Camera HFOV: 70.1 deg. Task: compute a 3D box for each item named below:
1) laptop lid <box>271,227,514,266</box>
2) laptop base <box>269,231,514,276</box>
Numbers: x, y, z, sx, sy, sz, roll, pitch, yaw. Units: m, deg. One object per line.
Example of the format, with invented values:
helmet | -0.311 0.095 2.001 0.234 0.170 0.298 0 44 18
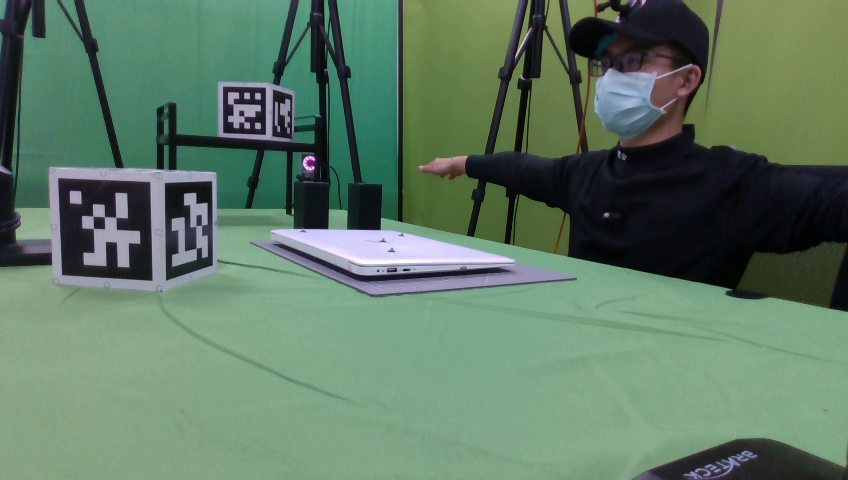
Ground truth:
laptop lid | -0.063 0.005 0.893 0.243 0.013 0.355 1 7 -30
laptop base | -0.066 0.017 0.893 0.237 0.023 0.352 1 6 -32
